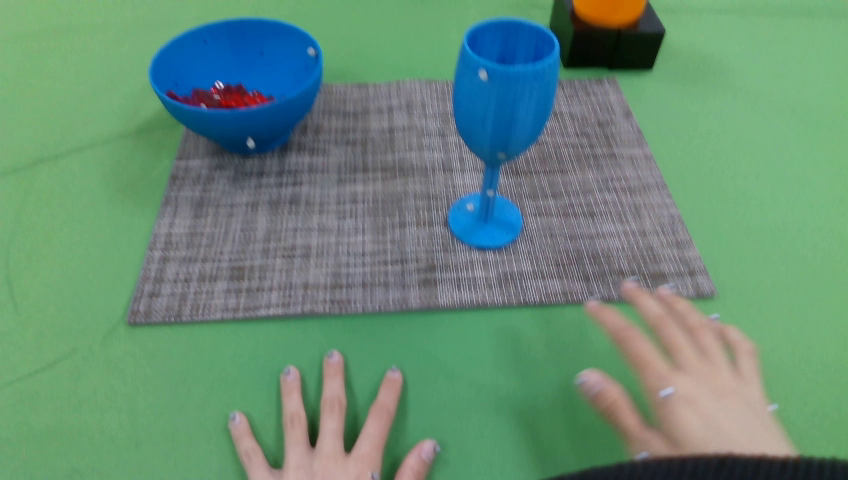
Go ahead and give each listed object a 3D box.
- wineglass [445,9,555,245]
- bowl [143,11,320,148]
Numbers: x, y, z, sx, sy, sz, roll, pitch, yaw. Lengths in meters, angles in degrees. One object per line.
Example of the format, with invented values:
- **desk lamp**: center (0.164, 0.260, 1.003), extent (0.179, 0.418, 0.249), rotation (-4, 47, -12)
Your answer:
- **wineglass**: center (0.051, -0.077, 0.455), extent (0.074, 0.174, 0.073), rotation (1, 49, -1)
- **bowl**: center (-0.169, -0.139, 0.562), extent (0.151, 0.077, 0.150), rotation (1, 50, -1)
